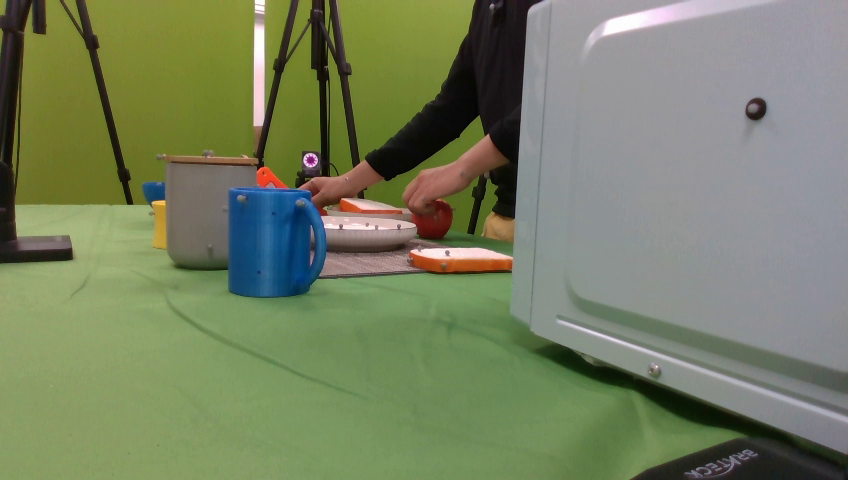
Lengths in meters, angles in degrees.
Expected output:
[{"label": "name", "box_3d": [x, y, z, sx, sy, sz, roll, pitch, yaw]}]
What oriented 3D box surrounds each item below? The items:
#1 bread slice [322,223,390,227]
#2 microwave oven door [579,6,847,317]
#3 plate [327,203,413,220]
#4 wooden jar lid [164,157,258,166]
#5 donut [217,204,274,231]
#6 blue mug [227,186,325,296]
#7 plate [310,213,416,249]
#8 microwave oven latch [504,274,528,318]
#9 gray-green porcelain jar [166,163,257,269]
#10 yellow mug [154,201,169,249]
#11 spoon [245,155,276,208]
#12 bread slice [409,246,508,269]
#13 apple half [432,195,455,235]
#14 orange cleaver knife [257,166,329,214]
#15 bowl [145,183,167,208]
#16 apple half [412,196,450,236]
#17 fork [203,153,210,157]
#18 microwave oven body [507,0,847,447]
[{"label": "bread slice", "box_3d": [-0.116, -0.014, 0.974, 0.135, 0.018, 0.106, -6, 11, -42]}, {"label": "microwave oven door", "box_3d": [0.294, -0.067, 0.570, 0.358, 0.243, 0.039, -3, 9, -31]}, {"label": "plate", "box_3d": [-0.102, -0.053, 1.299, 0.209, 0.038, 0.209, 2, 8, 0]}, {"label": "wooden jar lid", "box_3d": [-0.261, -0.093, 0.746, 0.108, 0.020, 0.108, 0, 9, 0]}, {"label": "donut", "box_3d": [-0.318, -0.038, 1.080, 0.099, 0.048, 0.099, 3, 7, 0]}, {"label": "blue mug", "box_3d": [-0.146, 0.000, 0.618, 0.116, 0.106, 0.083, 7, 9, 32]}, {"label": "plate", "box_3d": [-0.117, -0.014, 0.967, 0.208, 0.039, 0.207, 2, 7, 0]}, {"label": "microwave oven latch", "box_3d": [0.100, 0.041, 0.471, 0.079, 0.029, 0.030, -1, 8, -28]}, {"label": "gray-green porcelain jar", "box_3d": [-0.263, -0.032, 0.754, 0.106, 0.126, 0.106, 2, 7, 0]}, {"label": "yellow mug", "box_3d": [-0.337, -0.022, 0.899, 0.130, 0.064, 0.100, 8, 9, 34]}, {"label": "spoon", "box_3d": [-0.421, -0.150, 1.540, 0.042, 0.021, 0.193, -5, 55, -37]}, {"label": "bread slice", "box_3d": [0.048, 0.021, 0.816, 0.132, 0.019, 0.104, 0, 7, -24]}, {"label": "apple half", "box_3d": [0.038, -0.049, 1.158, 0.033, 0.081, 0.081, -9, 12, -34]}, {"label": "orange cleaver knife", "box_3d": [-0.294, -0.086, 1.332, 0.012, 0.077, 0.212, 7, -20, 47]}, {"label": "bowl", "box_3d": [-0.459, -0.069, 1.175, 0.151, 0.077, 0.151, 2, 7, 0]}, {"label": "apple half", "box_3d": [0.005, -0.045, 1.134, 0.053, 0.074, 0.080, -9, 19, -33]}, {"label": "fork", "box_3d": [-0.480, -0.135, 1.411, 0.028, 0.018, 0.207, 1, -34, 0]}, {"label": "microwave oven body", "box_3d": [0.331, -0.042, 0.425, 0.444, 0.260, 0.324, -2, 8, -31]}]
